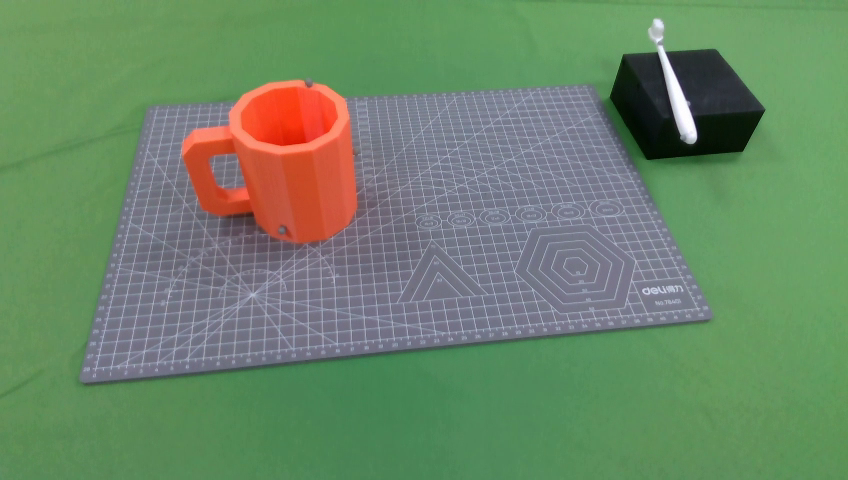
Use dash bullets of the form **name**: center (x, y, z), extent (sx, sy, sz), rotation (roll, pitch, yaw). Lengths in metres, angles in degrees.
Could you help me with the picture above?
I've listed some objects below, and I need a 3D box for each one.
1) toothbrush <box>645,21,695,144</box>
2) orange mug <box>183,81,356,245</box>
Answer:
- **toothbrush**: center (0.228, -0.152, 0.563), extent (0.014, 0.017, 0.180), rotation (6, 50, -1)
- **orange mug**: center (-0.117, -0.057, 0.472), extent (0.126, 0.101, 0.082), rotation (-7, 50, -14)
